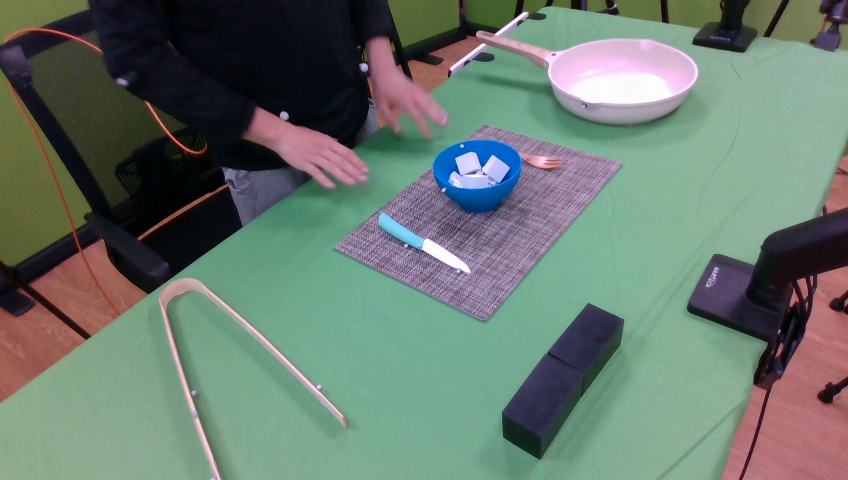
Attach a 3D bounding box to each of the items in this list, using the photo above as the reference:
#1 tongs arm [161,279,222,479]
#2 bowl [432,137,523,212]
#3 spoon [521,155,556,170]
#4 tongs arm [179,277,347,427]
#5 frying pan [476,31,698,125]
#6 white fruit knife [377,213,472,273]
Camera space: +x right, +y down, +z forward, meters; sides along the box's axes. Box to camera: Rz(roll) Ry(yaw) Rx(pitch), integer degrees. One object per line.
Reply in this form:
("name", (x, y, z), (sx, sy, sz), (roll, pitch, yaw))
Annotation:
("tongs arm", (-0.297, 0.174, 0.797), (0.051, 0.026, 0.381), (-25, 43, -21))
("bowl", (0.091, -0.100, 1.022), (0.151, 0.077, 0.150), (-4, 41, 4))
("spoon", (0.156, -0.161, 1.126), (0.192, 0.022, 0.042), (25, 36, 29))
("tongs arm", (-0.231, 0.141, 0.832), (0.384, 0.028, 0.028), (30, 55, 35))
("frying pan", (0.321, -0.371, 1.290), (0.484, 0.103, 0.307), (29, 51, 23))
("white fruit knife", (-0.004, 0.006, 0.961), (0.205, 0.016, 0.027), (29, 61, 34))
